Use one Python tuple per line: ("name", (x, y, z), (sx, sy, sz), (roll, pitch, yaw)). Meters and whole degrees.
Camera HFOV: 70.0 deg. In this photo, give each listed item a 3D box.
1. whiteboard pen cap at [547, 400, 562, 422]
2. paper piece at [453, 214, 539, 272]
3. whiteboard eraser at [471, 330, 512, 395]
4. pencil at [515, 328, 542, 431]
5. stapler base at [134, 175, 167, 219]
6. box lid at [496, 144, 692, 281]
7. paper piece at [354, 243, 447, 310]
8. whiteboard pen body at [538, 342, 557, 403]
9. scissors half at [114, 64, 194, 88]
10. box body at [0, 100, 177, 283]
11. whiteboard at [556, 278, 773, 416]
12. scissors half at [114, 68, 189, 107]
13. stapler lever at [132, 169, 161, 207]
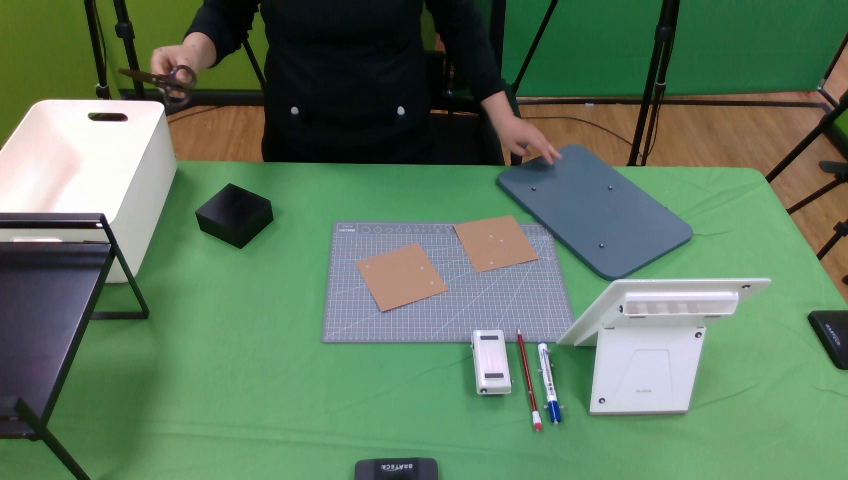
("whiteboard pen cap", (0.205, 0.269, 0.956), (0.018, 0.018, 0.033), (0, 47, -5))
("paper piece", (0.142, 0.002, 1.213), (0.135, 0.004, 0.135), (-11, 47, -14))
("whiteboard eraser", (0.110, 0.202, 0.998), (0.055, 0.042, 0.112), (1, 46, -5))
("pencil", (0.169, 0.224, 1.002), (0.012, 0.012, 0.192), (-1, 46, -6))
("stapler base", (-0.559, -0.093, 1.234), (0.041, 0.024, 0.129), (0, 43, -8))
("box lid", (0.360, -0.073, 1.305), (0.263, 0.015, 0.369), (-24, 52, -25))
("paper piece", (-0.045, 0.066, 1.137), (0.136, 0.009, 0.137), (-14, 47, -22))
("whiteboard pen body", (0.205, 0.228, 0.997), (0.017, 0.017, 0.140), (1, 46, -3))
("scissors half", (-0.442, -0.274, 1.003), (0.013, 0.040, 0.175), (27, 20, 13))
("box body", (-0.639, -0.095, 1.140), (0.254, 0.161, 0.361), (0, 46, -4))
("whiteboard", (0.347, 0.174, 0.903), (0.217, 0.306, 0.143), (1, 65, -4))
("scissors half", (-0.450, -0.256, 1.007), (0.013, 0.175, 0.040), (22, 92, 14))
("stapler lever", (-0.558, -0.113, 1.218), (0.027, 0.040, 0.117), (0, 42, -8))
